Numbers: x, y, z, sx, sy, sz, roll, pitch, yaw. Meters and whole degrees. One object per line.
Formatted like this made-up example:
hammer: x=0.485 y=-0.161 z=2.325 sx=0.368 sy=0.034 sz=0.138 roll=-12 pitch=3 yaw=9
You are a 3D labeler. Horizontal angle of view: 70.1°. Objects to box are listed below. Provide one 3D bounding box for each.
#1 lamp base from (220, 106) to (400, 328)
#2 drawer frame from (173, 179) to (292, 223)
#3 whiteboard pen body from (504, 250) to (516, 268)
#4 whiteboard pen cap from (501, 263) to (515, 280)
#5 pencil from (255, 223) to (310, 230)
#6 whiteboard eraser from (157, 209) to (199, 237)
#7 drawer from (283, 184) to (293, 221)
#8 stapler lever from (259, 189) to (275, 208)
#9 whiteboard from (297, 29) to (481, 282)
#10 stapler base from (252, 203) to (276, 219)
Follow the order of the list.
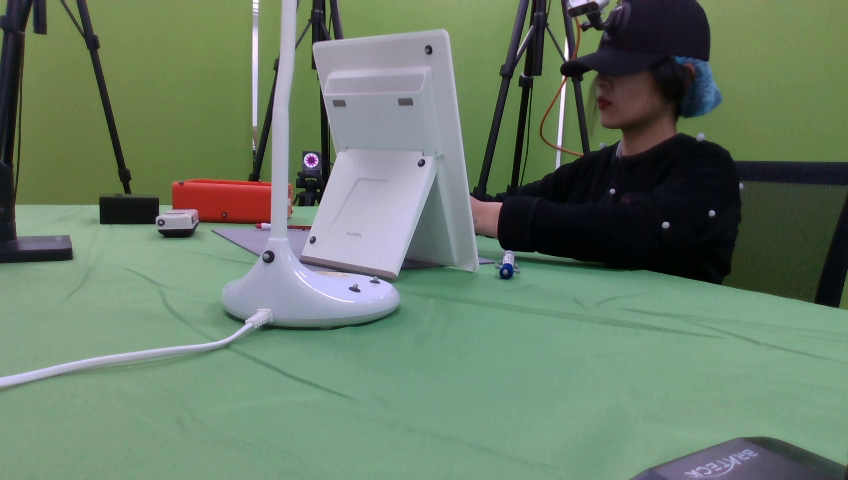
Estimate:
lamp base: x=-0.101 y=-0.023 z=0.531 sx=0.160 sy=0.180 sz=0.179 roll=4 pitch=10 yaw=10
drawer frame: x=-0.400 y=-0.086 z=1.300 sx=0.214 sy=0.082 sz=0.201 roll=1 pitch=8 yaw=-8
whiteboard pen body: x=0.115 y=0.031 z=0.815 sx=0.017 sy=0.017 sz=0.141 roll=4 pitch=8 yaw=9
whiteboard pen cap: x=0.105 y=0.038 z=0.758 sx=0.018 sy=0.018 sz=0.033 roll=4 pitch=10 yaw=9
pencil: x=-0.216 y=-0.023 z=1.134 sx=0.195 sy=0.012 sz=0.012 roll=1 pitch=7 yaw=-21
whiteboard eraser: x=-0.411 y=-0.029 z=1.016 sx=0.056 sy=0.042 sz=0.112 roll=2 pitch=7 yaw=-16
drawer: x=-0.396 y=-0.085 z=1.301 sx=0.212 sy=0.073 sz=0.194 roll=1 pitch=8 yaw=-7
stapler lever: x=-0.335 y=-0.090 z=1.300 sx=0.027 sy=0.040 sz=0.118 roll=16 pitch=4 yaw=-11
whiteboard: x=-0.076 y=-0.082 z=0.741 sx=0.216 sy=0.305 sz=0.144 roll=9 pitch=29 yaw=37
stapler base: x=-0.341 y=-0.065 z=1.301 sx=0.041 sy=0.024 sz=0.130 roll=16 pitch=4 yaw=-11
